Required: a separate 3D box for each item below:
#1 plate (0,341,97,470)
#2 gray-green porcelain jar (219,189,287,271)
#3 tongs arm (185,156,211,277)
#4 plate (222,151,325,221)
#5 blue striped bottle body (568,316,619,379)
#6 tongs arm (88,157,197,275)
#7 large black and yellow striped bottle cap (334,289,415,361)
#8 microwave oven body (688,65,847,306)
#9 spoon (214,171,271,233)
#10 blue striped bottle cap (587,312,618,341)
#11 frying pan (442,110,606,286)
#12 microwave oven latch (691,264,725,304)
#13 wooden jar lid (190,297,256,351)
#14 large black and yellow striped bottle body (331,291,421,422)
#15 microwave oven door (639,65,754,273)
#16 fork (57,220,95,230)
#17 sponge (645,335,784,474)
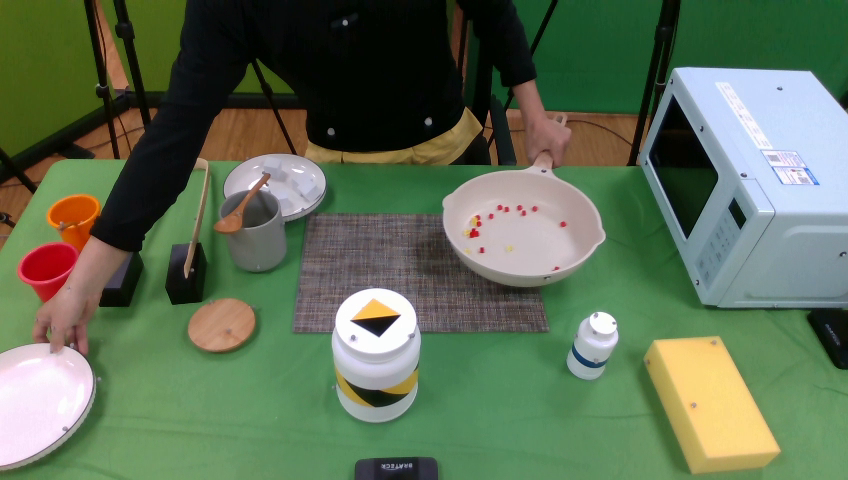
[{"bbox_3d":[-0.599,0.246,0.905,0.209,0.038,0.208,2,47,-2],"label":"plate"},{"bbox_3d":[-0.309,-0.014,1.114,0.106,0.127,0.105,2,46,-2],"label":"gray-green porcelain jar"},{"bbox_3d":[-0.446,-0.058,1.168,0.051,0.026,0.382,-2,37,-8],"label":"tongs arm"},{"bbox_3d":[-0.310,-0.106,1.263,0.208,0.039,0.206,2,46,-2],"label":"plate"},{"bbox_3d":[0.276,0.168,0.984,0.063,0.121,0.062,2,46,-2],"label":"blue striped bottle body"},{"bbox_3d":[-0.530,-0.061,1.160,0.028,0.028,0.385,3,35,6],"label":"tongs arm"},{"bbox_3d":[-0.069,0.117,0.850,0.115,0.019,0.114,2,45,-2],"label":"large black and yellow striped bottle cap"},{"bbox_3d":[0.669,-0.111,1.176,0.326,0.261,0.439,0,46,-3],"label":"microwave oven body"},{"bbox_3d":[-0.312,-0.071,1.070,0.041,0.022,0.193,11,43,9],"label":"spoon"},{"bbox_3d":[0.279,0.134,0.946,0.044,0.021,0.044,2,45,-2],"label":"blue striped bottle cap"},{"bbox_3d":[0.219,-0.099,1.191,0.306,0.103,0.486,16,55,16],"label":"frying pan"},{"bbox_3d":[0.521,0.081,1.116,0.030,0.029,0.078,0,46,-3],"label":"microwave oven latch"},{"bbox_3d":[-0.341,0.145,1.034,0.108,0.021,0.107,2,46,-2],"label":"wooden jar lid"},{"bbox_3d":[-0.071,0.175,0.911,0.131,0.185,0.130,2,47,-2],"label":"large black and yellow striped bottle body"},{"bbox_3d":[0.522,-0.147,1.192,0.039,0.245,0.353,1,47,-3],"label":"microwave oven door"},{"bbox_3d":[-0.624,-0.027,1.086,0.028,0.207,0.018,-2,91,-17],"label":"fork"},{"bbox_3d":[0.449,0.253,0.956,0.118,0.061,0.205,-4,46,-7],"label":"sponge"}]
